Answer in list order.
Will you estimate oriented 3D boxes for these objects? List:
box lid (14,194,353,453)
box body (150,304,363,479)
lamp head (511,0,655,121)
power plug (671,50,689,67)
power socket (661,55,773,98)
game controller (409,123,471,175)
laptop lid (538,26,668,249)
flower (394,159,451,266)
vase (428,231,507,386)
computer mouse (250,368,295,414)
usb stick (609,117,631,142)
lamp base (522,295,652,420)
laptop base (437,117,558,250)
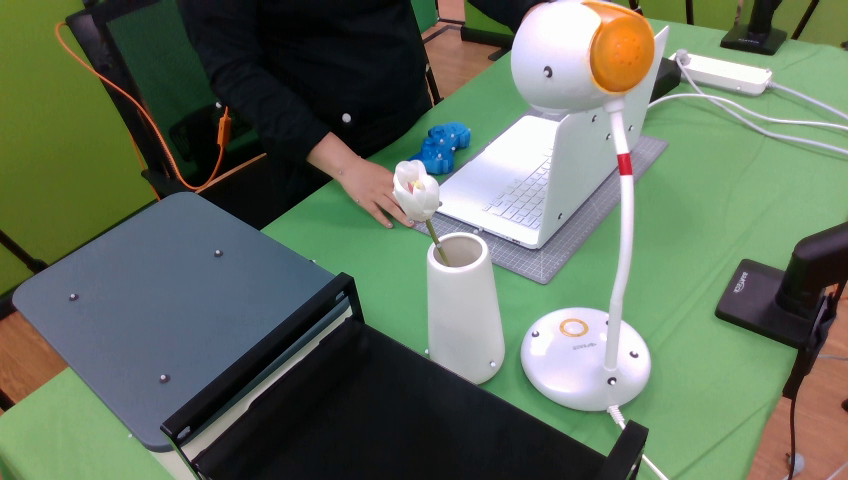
[{"bbox_3d":[-0.290,0.067,0.716,0.368,0.015,0.264,25,50,33],"label":"box lid"},{"bbox_3d":[-0.284,0.123,0.765,0.361,0.161,0.255,25,49,33],"label":"box body"},{"bbox_3d":[0.156,-0.168,0.563,0.113,0.113,0.122,-18,23,-12],"label":"lamp head"},{"bbox_3d":[0.541,-0.379,1.302,0.073,0.053,0.035,-30,46,-22],"label":"power plug"},{"bbox_3d":[0.619,-0.352,1.289,0.225,0.033,0.072,26,51,33],"label":"power socket"},{"bbox_3d":[0.029,-0.180,1.169,0.096,0.052,0.155,14,45,19],"label":"game controller"},{"bbox_3d":[0.282,-0.162,0.942,0.013,0.242,0.358,28,50,27],"label":"laptop lid"},{"bbox_3d":[0.029,0.035,0.664,0.043,0.364,0.038,36,73,29],"label":"flower"},{"bbox_3d":[0.051,0.087,0.728,0.098,0.201,0.097,-3,40,3],"label":"vase"},{"bbox_3d":[-0.196,0.182,0.771,0.063,0.041,0.116,-12,47,-11],"label":"computer mouse"},{"bbox_3d":[0.370,-0.207,1.147,0.021,0.027,0.059,25,55,33],"label":"usb stick"},{"bbox_3d":[0.201,0.095,0.709,0.161,0.181,0.178,-16,43,-10],"label":"lamp base"},{"bbox_3d":[0.193,-0.116,1.087,0.233,0.023,0.355,21,48,34],"label":"laptop base"}]
